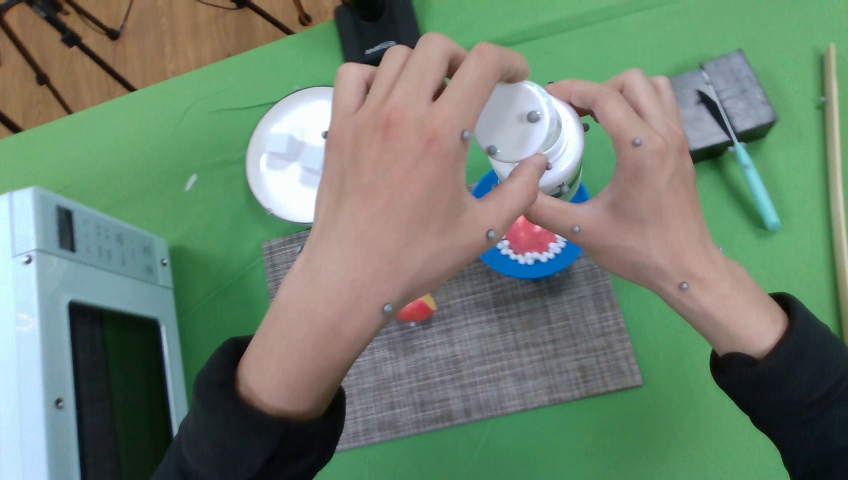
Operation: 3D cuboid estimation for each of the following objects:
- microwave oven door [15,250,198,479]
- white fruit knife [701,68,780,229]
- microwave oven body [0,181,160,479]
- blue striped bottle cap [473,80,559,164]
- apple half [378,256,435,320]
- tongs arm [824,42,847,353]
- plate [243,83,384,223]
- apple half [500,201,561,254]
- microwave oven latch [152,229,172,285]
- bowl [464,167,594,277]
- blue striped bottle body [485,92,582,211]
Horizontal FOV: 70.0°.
[{"bbox_3d":[-0.354,0.205,0.699,0.039,0.245,0.353,-17,73,9],"label":"microwave oven door"},{"bbox_3d":[0.369,-0.107,0.711,0.016,0.027,0.207,-25,88,24],"label":"white fruit knife"},{"bbox_3d":[-0.502,0.208,0.737,0.326,0.262,0.439,-16,74,8],"label":"microwave oven body"},{"bbox_3d":[0.049,-0.064,0.329,0.044,0.021,0.044,3,98,25],"label":"blue striped bottle cap"},{"bbox_3d":[-0.028,0.068,0.762,0.053,0.075,0.080,-34,75,6],"label":"apple half"},{"bbox_3d":[0.487,-0.051,0.703,0.028,0.028,0.385,2,77,11],"label":"tongs arm"},{"bbox_3d":[-0.153,-0.120,0.861,0.207,0.039,0.206,-3,76,12],"label":"plate"},{"bbox_3d":[0.130,-0.022,0.740,0.081,0.033,0.081,-4,74,12],"label":"apple half"},{"bbox_3d":[-0.379,0.027,0.857,0.030,0.030,0.078,-16,74,8],"label":"microwave oven latch"},{"bbox_3d":[0.130,-0.022,0.745,0.151,0.077,0.150,-3,75,13],"label":"bowl"},{"bbox_3d":[0.076,-0.061,0.418,0.063,0.121,0.063,-2,82,13],"label":"blue striped bottle body"}]
